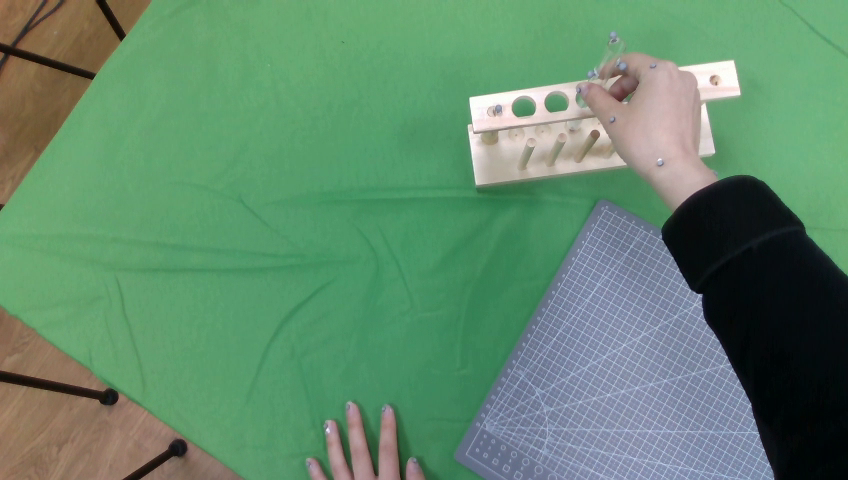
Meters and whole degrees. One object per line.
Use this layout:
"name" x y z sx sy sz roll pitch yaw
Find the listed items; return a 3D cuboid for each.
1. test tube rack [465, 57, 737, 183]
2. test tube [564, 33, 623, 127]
"test tube rack" 0.164 -0.113 0.589 0.242 0.085 0.066 -7 82 2
"test tube" 0.148 -0.137 0.543 0.017 0.151 0.017 0 76 0
